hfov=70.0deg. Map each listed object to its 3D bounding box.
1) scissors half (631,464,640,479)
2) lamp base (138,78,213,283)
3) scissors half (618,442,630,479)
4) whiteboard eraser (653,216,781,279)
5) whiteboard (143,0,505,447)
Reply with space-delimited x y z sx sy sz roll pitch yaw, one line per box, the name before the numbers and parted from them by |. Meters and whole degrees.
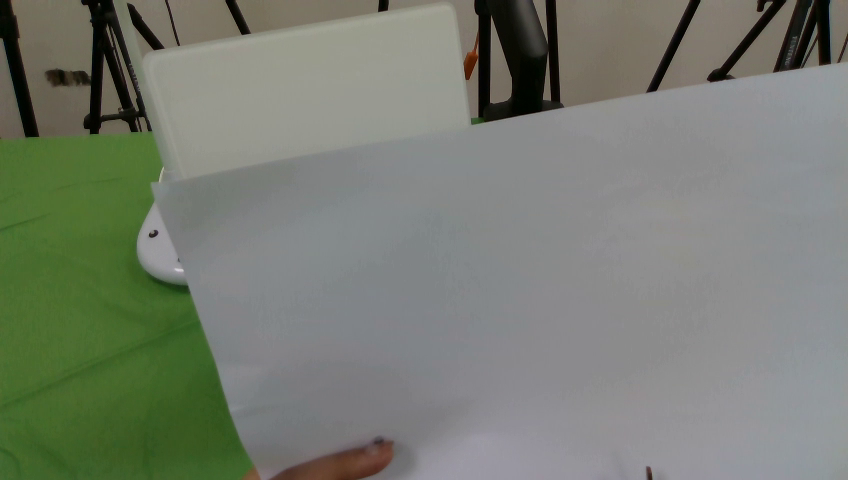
scissors half | 0.109 0.176 0.287 0.013 0.176 0.040 -13 22 3
lamp base | -0.250 -0.072 0.642 0.177 0.182 0.160 25 46 33
scissors half | 0.107 0.177 0.263 0.013 0.040 0.174 -13 77 7
whiteboard eraser | 0.300 0.009 0.624 0.113 0.042 0.055 -8 40 -8
whiteboard | -0.074 -0.023 0.520 0.218 0.307 0.142 -16 22 -16
